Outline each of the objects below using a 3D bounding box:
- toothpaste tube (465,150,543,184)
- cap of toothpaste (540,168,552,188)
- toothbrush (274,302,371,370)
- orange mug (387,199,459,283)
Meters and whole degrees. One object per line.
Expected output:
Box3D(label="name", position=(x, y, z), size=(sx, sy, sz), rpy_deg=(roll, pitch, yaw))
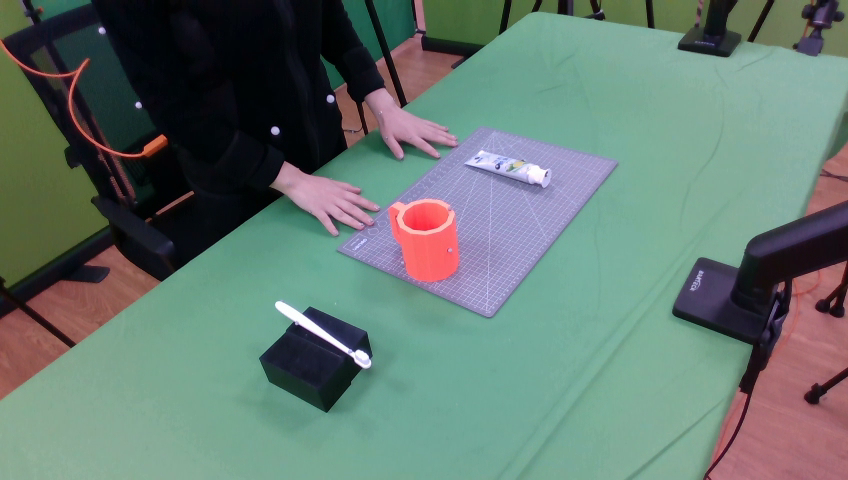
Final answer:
Box3D(label="toothpaste tube", position=(0.154, -0.135, 1.108), size=(0.163, 0.034, 0.055), rpy_deg=(23, 43, 36))
Box3D(label="cap of toothpaste", position=(0.213, -0.109, 1.059), size=(0.011, 0.037, 0.037), rpy_deg=(19, 47, 27))
Box3D(label="toothbrush", position=(-0.136, 0.120, 0.783), size=(0.180, 0.017, 0.014), rpy_deg=(25, 53, 32))
Box3D(label="orange mug", position=(-0.006, -0.007, 0.922), size=(0.125, 0.101, 0.084), rpy_deg=(32, 54, 32))
